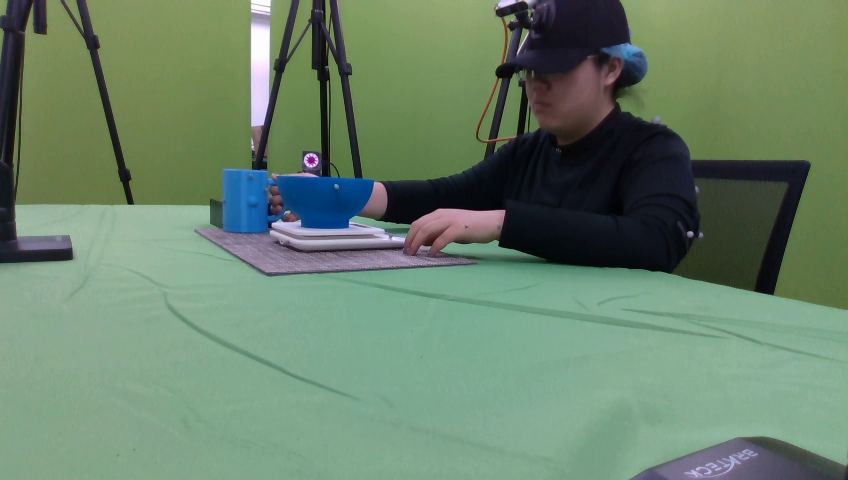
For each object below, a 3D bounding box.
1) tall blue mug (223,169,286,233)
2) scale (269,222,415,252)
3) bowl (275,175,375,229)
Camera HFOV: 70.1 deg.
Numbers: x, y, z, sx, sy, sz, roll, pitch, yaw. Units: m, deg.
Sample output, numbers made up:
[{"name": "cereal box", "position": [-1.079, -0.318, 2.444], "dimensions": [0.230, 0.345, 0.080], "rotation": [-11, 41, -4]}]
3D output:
[{"name": "tall blue mug", "position": [-0.310, -0.072, 1.091], "dimensions": [0.077, 0.108, 0.107], "rotation": [6, 8, 27]}, {"name": "scale", "position": [-0.130, -0.008, 0.959], "dimensions": [0.202, 0.031, 0.148], "rotation": [-1, 9, -32]}, {"name": "bowl", "position": [-0.152, -0.059, 0.932], "dimensions": [0.151, 0.077, 0.151], "rotation": [3, 6, 0]}]
